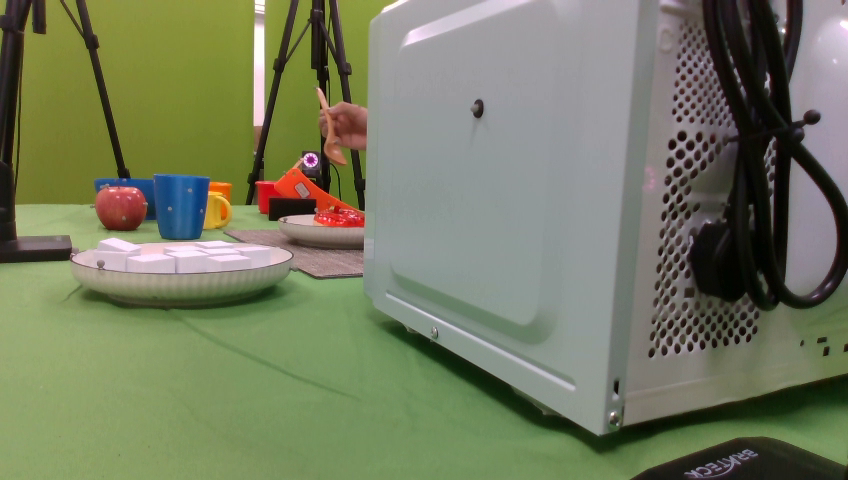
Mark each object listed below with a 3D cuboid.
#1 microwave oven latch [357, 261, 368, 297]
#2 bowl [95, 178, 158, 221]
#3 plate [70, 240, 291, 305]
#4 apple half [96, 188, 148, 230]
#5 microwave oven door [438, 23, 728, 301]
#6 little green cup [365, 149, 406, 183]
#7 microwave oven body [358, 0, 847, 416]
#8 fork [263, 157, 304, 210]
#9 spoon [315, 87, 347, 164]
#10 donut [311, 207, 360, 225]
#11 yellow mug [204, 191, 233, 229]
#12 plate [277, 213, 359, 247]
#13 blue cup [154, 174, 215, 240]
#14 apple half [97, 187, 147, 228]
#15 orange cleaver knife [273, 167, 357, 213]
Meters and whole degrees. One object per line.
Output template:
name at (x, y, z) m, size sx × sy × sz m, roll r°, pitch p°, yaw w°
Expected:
microwave oven latch at (-0.019, 0.033, 0.530) m, size 0.079 × 0.029 × 0.030 m, roll -1°, pitch 7°, yaw -27°
bowl at (-0.576, -0.081, 1.217) m, size 0.151 × 0.077 × 0.151 m, roll 3°, pitch 8°, yaw 0°
plate at (-0.242, 0.031, 0.618) m, size 0.208 × 0.039 × 0.207 m, roll 2°, pitch 8°, yaw 0°
apple half at (-0.517, -0.052, 1.036) m, size 0.081 × 0.074 × 0.053 m, roll 3°, pitch 10°, yaw -26°
microwave oven door at (0.181, -0.072, 0.620) m, size 0.358 × 0.243 × 0.039 m, roll -2°, pitch 8°, yaw -29°
little green cup at (-0.060, -0.117, 0.967) m, size 0.061 × 0.038 × 0.061 m, roll -21°, pitch 6°, yaw 3°
microwave oven body at (0.211, -0.047, 0.474) m, size 0.444 × 0.260 × 0.324 m, roll -1°, pitch 7°, yaw -28°
fork at (-0.345, -0.143, 1.505) m, size 0.028 × 0.019 × 0.207 m, roll -5°, pitch 45°, yaw 28°
spoon at (-0.167, -0.204, 1.063) m, size 0.042 × 0.193 × 0.021 m, roll 16°, pitch -43°, yaw -41°
donut at (-0.137, -0.029, 0.995) m, size 0.099 × 0.048 × 0.099 m, roll 4°, pitch 9°, yaw 0°
yellow mug at (-0.415, -0.057, 1.132) m, size 0.130 × 0.064 × 0.100 m, roll 6°, pitch 8°, yaw 16°
plate at (-0.134, -0.017, 0.992) m, size 0.209 × 0.038 × 0.209 m, roll 2°, pitch 8°, yaw 0°
blue cup at (-0.391, -0.053, 0.978) m, size 0.093 × 0.100 × 0.092 m, roll 4°, pitch 6°, yaw 0°
apple half at (-0.534, -0.059, 1.071) m, size 0.082 × 0.081 × 0.032 m, roll -1°, pitch 11°, yaw -25°
orange cleaver knife at (-0.238, -0.091, 1.381) m, size 0.212 × 0.077 × 0.012 m, roll 31°, pitch 0°, yaw -19°
